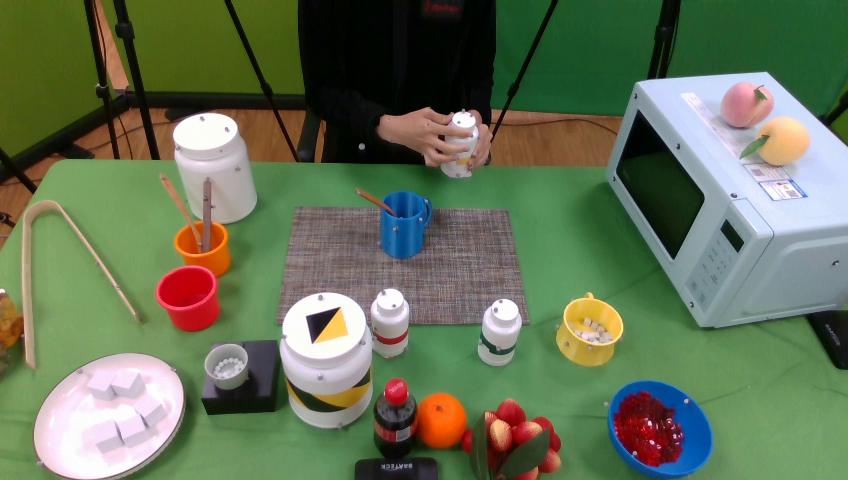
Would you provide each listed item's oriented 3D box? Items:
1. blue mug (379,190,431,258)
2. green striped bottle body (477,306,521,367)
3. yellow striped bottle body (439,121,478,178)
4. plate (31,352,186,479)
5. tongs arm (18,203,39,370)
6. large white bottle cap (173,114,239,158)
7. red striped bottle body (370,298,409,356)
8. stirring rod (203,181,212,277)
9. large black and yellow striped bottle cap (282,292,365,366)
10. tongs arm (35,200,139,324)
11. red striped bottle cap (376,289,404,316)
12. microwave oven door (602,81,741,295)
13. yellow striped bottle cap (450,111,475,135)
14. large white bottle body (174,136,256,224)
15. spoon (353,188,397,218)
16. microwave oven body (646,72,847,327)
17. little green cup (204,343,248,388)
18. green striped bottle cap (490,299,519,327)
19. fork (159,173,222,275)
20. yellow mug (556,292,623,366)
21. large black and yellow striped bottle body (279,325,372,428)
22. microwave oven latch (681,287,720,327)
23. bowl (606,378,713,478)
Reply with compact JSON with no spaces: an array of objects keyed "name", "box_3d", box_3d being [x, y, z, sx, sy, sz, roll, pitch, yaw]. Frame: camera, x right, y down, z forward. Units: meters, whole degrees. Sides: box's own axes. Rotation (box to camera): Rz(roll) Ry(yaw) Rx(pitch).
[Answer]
[{"name":"blue mug","box_3d":[-0.032,-0.037,1.169,0.116,0.106,0.082,-29,55,-28]},{"name":"green striped bottle body","box_3d":[0.124,0.151,0.995,0.063,0.120,0.063,2,46,-2]},{"name":"yellow striped bottle body","box_3d":[0.066,-0.181,1.148,0.063,0.121,0.062,3,50,-4]},{"name":"plate","box_3d":[-0.459,0.262,0.898,0.209,0.038,0.208,2,46,-2]},{"name":"tongs arm","box_3d":[-0.698,0.069,1.069,0.028,0.028,0.385,-20,50,-13]},{"name":"large white bottle cap","box_3d":[-0.403,-0.195,1.122,0.115,0.018,0.114,2,47,-2]},{"name":"red striped bottle body","box_3d":[-0.058,0.134,0.997,0.063,0.120,0.062,4,47,-4]},{"name":"stirring rod","box_3d":[-0.396,-0.021,1.107,0.014,0.006,0.176,-1,89,-1]},{"name":"large black and yellow striped bottle cap","box_3d":[-0.138,0.121,0.841,0.115,0.019,0.114,3,47,-3]},{"name":"tongs arm","box_3d":[-0.622,0.034,1.105,0.051,0.026,0.382,-32,55,-26]},{"name":"red striped bottle cap","box_3d":[-0.055,0.098,0.958,0.044,0.018,0.044,0,48,1]},{"name":"microwave oven door","box_3d":[0.456,-0.107,1.162,0.039,0.245,0.353,-6,47,-11]},{"name":"yellow striped bottle cap","box_3d":[0.070,-0.215,1.107,0.044,0.019,0.044,4,52,-5]},{"name":"large white bottle body","box_3d":[-0.408,-0.137,1.183,0.131,0.185,0.130,2,46,-2]},{"name":"spoon","box_3d":[-0.069,-0.053,1.121,0.021,0.195,0.041,-36,51,11]},{"name":"microwave oven body","box_3d":[0.607,-0.089,1.164,0.326,0.261,0.438,-7,46,-10]},{"name":"little green cup","box_3d":[-0.294,0.190,0.909,0.061,0.039,0.061,1,48,0]},{"name":"green striped bottle cap","box_3d":[0.128,0.115,0.958,0.044,0.020,0.044,2,47,-2]},{"name":"fork","box_3d":[-0.427,-0.029,1.103,0.028,0.018,0.207,-31,99,-30]},{"name":"yellow mug","box_3d":[0.285,0.145,1.051,0.100,0.064,0.130,7,45,3]},{"name":"large black and yellow striped bottle body","box_3d":[-0.143,0.181,0.900,0.131,0.185,0.130,2,46,-2]},{"name":"microwave oven latch","box_3d":[0.494,0.119,1.087,0.030,0.029,0.078,-6,46,-9]},{"name":"bowl","box_3d":[0.340,0.292,0.906,0.151,0.077,0.150,2,46,-2]}]
